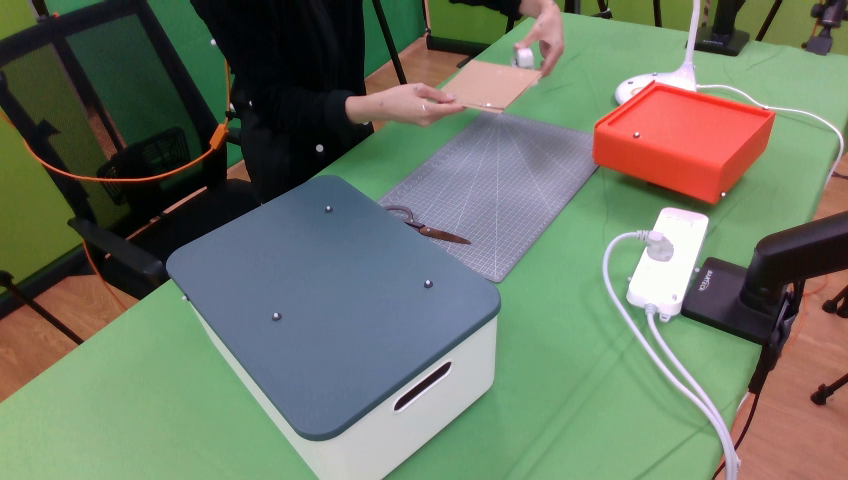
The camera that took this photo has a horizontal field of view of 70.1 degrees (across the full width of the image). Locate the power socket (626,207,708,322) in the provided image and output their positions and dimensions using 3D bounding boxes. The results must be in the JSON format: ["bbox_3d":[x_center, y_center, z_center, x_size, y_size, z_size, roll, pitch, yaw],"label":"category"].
[{"bbox_3d":[0.360,0.026,0.886,0.072,0.033,0.227,16,46,26],"label":"power socket"}]

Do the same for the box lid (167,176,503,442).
[{"bbox_3d":[-0.119,0.047,0.714,0.264,0.015,0.368,-32,47,-27],"label":"box lid"}]

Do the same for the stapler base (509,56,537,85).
[{"bbox_3d":[0.188,-0.330,1.149,0.041,0.024,0.130,-4,37,4],"label":"stapler base"}]

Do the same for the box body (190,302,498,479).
[{"bbox_3d":[-0.110,0.103,0.761,0.255,0.161,0.361,-33,46,-27],"label":"box body"}]

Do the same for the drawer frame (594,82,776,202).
[{"bbox_3d":[0.428,-0.171,1.006,0.211,0.083,0.202,29,51,36],"label":"drawer frame"}]

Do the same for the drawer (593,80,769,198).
[{"bbox_3d":[0.423,-0.174,1.007,0.210,0.073,0.195,30,52,35],"label":"drawer"}]

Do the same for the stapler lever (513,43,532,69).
[{"bbox_3d":[0.184,-0.351,1.135,0.027,0.040,0.117,-4,37,4],"label":"stapler lever"}]

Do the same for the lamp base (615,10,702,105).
[{"bbox_3d":[0.484,-0.364,1.211,0.180,0.181,0.159,-15,41,-14],"label":"lamp base"}]

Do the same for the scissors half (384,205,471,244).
[{"bbox_3d":[0.001,-0.024,1.005,0.174,0.013,0.040,22,59,25],"label":"scissors half"}]

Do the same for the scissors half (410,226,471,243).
[{"bbox_3d":[-0.007,-0.010,0.993,0.174,0.013,0.040,8,48,15],"label":"scissors half"}]

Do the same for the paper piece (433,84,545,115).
[{"bbox_3d":[0.107,-0.243,0.994,0.134,0.004,0.136,24,42,32],"label":"paper piece"}]

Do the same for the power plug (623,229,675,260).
[{"bbox_3d":[0.327,0.007,0.878,0.072,0.053,0.035,25,51,33],"label":"power plug"}]

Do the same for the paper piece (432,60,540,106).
[{"bbox_3d":[0.104,-0.259,0.995,0.137,0.009,0.136,18,45,29],"label":"paper piece"}]
